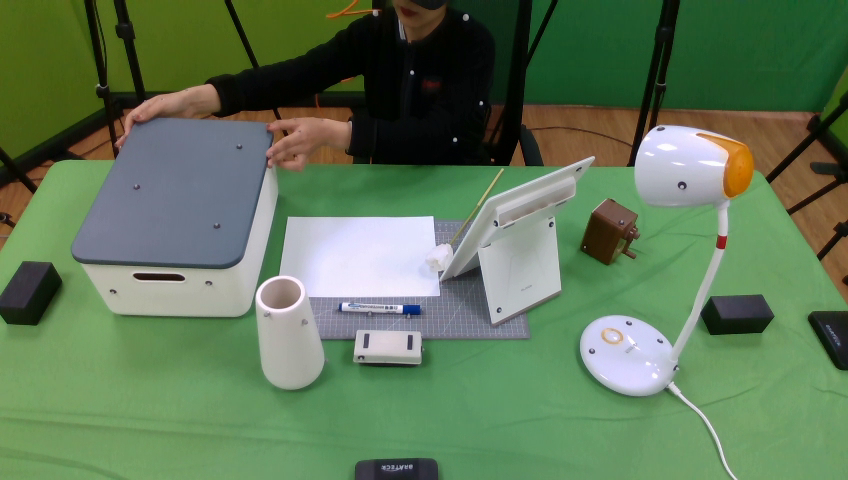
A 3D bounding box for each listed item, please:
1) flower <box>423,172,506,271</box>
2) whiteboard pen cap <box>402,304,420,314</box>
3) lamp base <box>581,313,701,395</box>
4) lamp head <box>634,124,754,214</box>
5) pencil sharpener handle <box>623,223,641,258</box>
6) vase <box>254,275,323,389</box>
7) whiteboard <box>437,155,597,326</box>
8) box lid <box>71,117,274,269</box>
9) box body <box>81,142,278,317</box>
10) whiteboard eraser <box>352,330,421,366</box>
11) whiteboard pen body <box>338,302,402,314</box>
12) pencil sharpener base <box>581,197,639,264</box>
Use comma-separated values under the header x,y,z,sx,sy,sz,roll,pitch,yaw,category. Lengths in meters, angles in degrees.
x,y,z,sx,sy,sz,roll,pitch,yaw,category
0.099,-0.053,1.259,0.044,0.038,0.361,19,43,22,flower
-0.024,0.123,1.076,0.033,0.018,0.018,1,46,1,whiteboard pen cap
0.361,0.144,0.973,0.178,0.181,0.160,34,53,23,lamp base
0.351,-0.089,0.776,0.112,0.113,0.122,-30,30,-28,lamp head
0.399,0.002,1.146,0.030,0.068,0.036,35,45,26,pencil sharpener handle
-0.209,0.143,0.921,0.098,0.201,0.097,1,46,-1,vase
0.180,0.023,1.029,0.217,0.306,0.143,-21,71,-23,whiteboard
-0.417,-0.096,1.052,0.263,0.015,0.369,2,47,-4,box lid
-0.421,-0.041,1.108,0.254,0.161,0.361,2,46,-3,box body
-0.061,0.180,1.005,0.113,0.042,0.055,3,48,-3,whiteboard eraser
-0.083,0.121,1.074,0.141,0.017,0.017,3,46,-2,whiteboard pen body
0.362,-0.016,1.178,0.076,0.107,0.061,35,53,26,pencil sharpener base
